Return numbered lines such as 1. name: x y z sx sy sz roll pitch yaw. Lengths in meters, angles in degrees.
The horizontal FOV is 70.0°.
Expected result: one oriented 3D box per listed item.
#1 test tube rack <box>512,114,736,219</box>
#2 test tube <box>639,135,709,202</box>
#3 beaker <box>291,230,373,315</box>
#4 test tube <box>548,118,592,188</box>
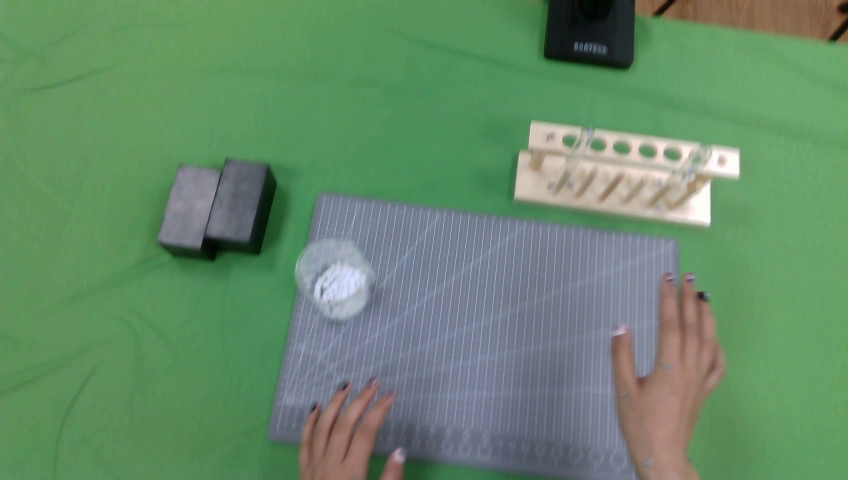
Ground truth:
1. test tube rack: 0.235 -0.087 0.732 0.242 0.085 0.066 8 71 0
2. test tube: 0.279 -0.077 0.683 0.017 0.151 0.017 1 71 -3
3. beaker: -0.096 0.040 0.666 0.084 0.101 0.073 8 72 0
4. test tube: 0.163 -0.095 0.684 0.017 0.151 0.017 0 71 -1
